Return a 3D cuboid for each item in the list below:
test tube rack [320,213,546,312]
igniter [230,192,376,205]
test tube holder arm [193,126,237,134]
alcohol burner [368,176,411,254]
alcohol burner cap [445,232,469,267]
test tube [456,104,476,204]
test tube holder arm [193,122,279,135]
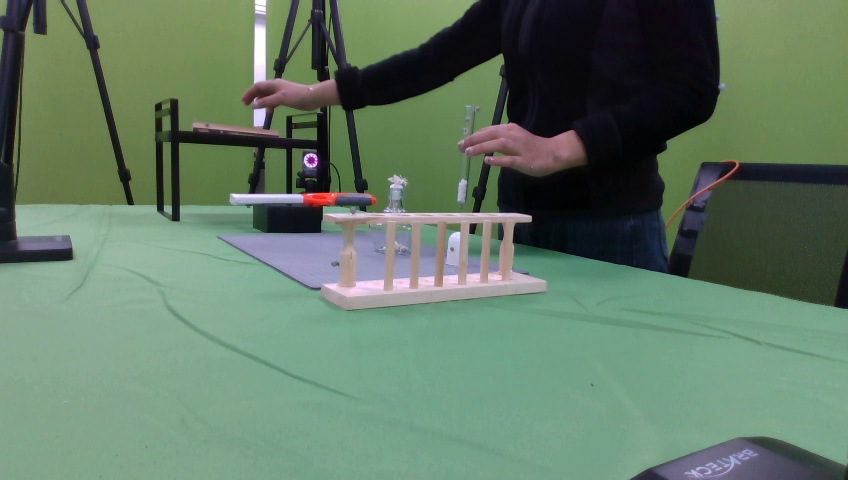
[{"bbox_3d":[0.018,0.017,0.638,0.244,0.085,0.066,-2,9,-31],"label":"test tube rack"},{"bbox_3d":[-0.226,-0.079,1.161,0.278,0.025,0.057,-2,15,-28],"label":"igniter"},{"bbox_3d":[-0.443,-0.235,1.284,0.088,0.015,0.010,-2,-21,-28],"label":"test tube holder arm"},{"bbox_3d":[-0.045,-0.038,0.912,0.078,0.119,0.078,4,7,0],"label":"alcohol burner"},{"bbox_3d":[0.045,0.013,0.829,0.034,0.048,0.034,2,7,0],"label":"alcohol burner cap"},{"bbox_3d":[0.062,-0.127,0.906,0.017,0.150,0.017,5,17,-1],"label":"test tube"},{"bbox_3d":[-0.401,-0.238,1.301,0.179,0.015,0.013,-2,-21,-29],"label":"test tube holder arm"}]
